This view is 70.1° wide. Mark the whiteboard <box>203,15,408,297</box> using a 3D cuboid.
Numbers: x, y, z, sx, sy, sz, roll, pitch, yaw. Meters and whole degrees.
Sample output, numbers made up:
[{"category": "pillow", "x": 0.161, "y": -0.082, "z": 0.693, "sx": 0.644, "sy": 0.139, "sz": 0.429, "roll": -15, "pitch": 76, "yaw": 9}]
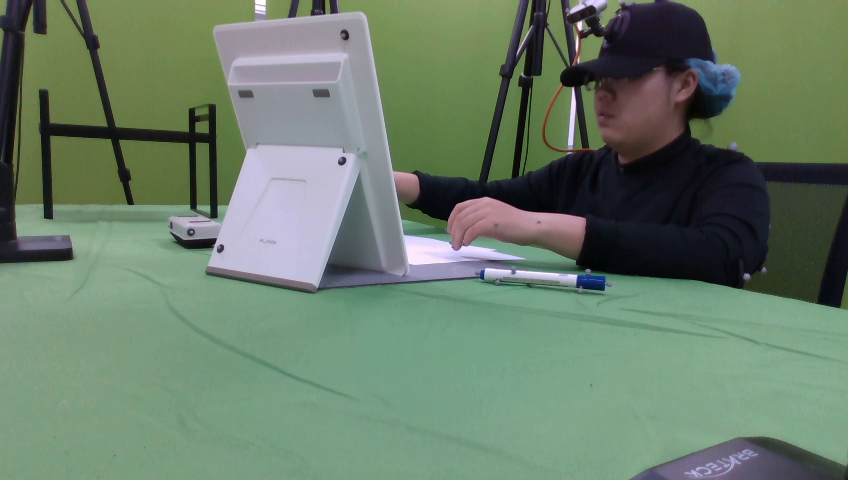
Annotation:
[{"category": "whiteboard", "x": -0.166, "y": -0.072, "z": 0.669, "sx": 0.216, "sy": 0.305, "sz": 0.144, "roll": 8, "pitch": 30, "yaw": 30}]

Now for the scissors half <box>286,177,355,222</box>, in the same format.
[{"category": "scissors half", "x": -0.229, "y": -0.091, "z": 1.337, "sx": 0.175, "sy": 0.013, "sz": 0.040, "roll": 32, "pitch": 14, "yaw": -14}]

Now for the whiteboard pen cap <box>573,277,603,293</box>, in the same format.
[{"category": "whiteboard pen cap", "x": 0.186, "y": 0.051, "z": 0.687, "sx": 0.033, "sy": 0.018, "sz": 0.018, "roll": 4, "pitch": 8, "yaw": 17}]

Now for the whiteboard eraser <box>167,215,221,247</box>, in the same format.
[{"category": "whiteboard eraser", "x": -0.350, "y": -0.014, "z": 0.920, "sx": 0.056, "sy": 0.042, "sz": 0.112, "roll": 0, "pitch": 7, "yaw": -35}]

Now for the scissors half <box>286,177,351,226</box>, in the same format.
[{"category": "scissors half", "x": -0.232, "y": -0.085, "z": 1.317, "sx": 0.175, "sy": 0.013, "sz": 0.040, "roll": 37, "pitch": 19, "yaw": 4}]

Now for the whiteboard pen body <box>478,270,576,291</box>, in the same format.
[{"category": "whiteboard pen body", "x": 0.131, "y": 0.048, "z": 0.707, "sx": 0.140, "sy": 0.017, "sz": 0.017, "roll": 4, "pitch": 8, "yaw": 18}]
